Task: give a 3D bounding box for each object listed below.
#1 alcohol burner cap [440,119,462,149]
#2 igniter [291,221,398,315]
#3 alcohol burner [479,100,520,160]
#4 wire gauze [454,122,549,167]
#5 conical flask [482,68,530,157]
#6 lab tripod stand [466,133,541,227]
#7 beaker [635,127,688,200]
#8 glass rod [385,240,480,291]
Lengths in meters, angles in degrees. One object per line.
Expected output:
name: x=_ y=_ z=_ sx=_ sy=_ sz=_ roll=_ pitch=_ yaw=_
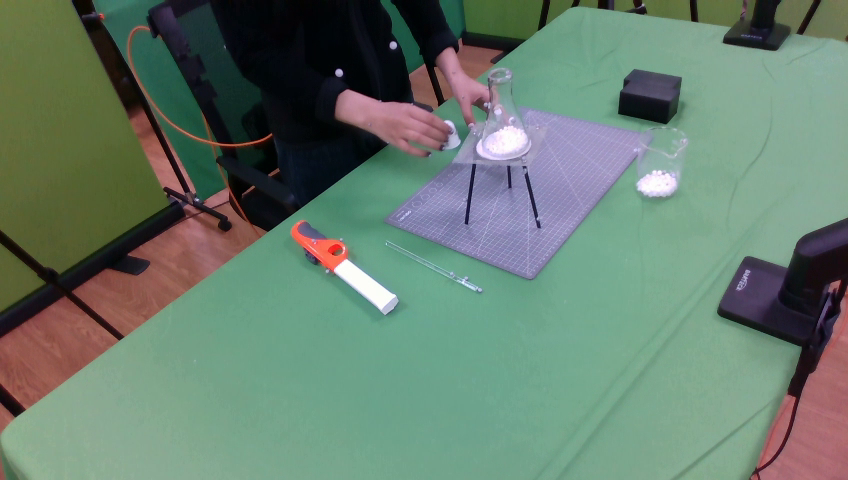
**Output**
alcohol burner cap: x=0.043 y=-0.182 z=1.024 sx=0.034 sy=0.048 sz=0.033 roll=-12 pitch=41 yaw=11
igniter: x=-0.136 y=0.037 z=0.962 sx=0.057 sy=0.025 sz=0.274 roll=-41 pitch=48 yaw=-18
alcohol burner: x=0.139 y=-0.207 z=1.126 sx=0.078 sy=0.120 sz=0.077 roll=-7 pitch=41 yaw=7
wire gauze: x=0.122 y=-0.149 z=0.943 sx=0.121 sy=0.011 sz=0.125 roll=7 pitch=44 yaw=22
conical flask: x=0.118 y=-0.192 z=0.902 sx=0.075 sy=0.122 sz=0.075 roll=-7 pitch=39 yaw=6
lab tripod stand: x=0.130 y=-0.099 z=0.985 sx=0.148 sy=0.132 sz=0.147 roll=-6 pitch=38 yaw=6
beaker: x=0.388 y=-0.122 z=0.994 sx=0.074 sy=0.101 sz=0.083 roll=-8 pitch=40 yaw=2
glass rod: x=0.009 y=0.037 z=0.950 sx=0.198 sy=0.008 sz=0.008 roll=26 pitch=52 yaw=34
